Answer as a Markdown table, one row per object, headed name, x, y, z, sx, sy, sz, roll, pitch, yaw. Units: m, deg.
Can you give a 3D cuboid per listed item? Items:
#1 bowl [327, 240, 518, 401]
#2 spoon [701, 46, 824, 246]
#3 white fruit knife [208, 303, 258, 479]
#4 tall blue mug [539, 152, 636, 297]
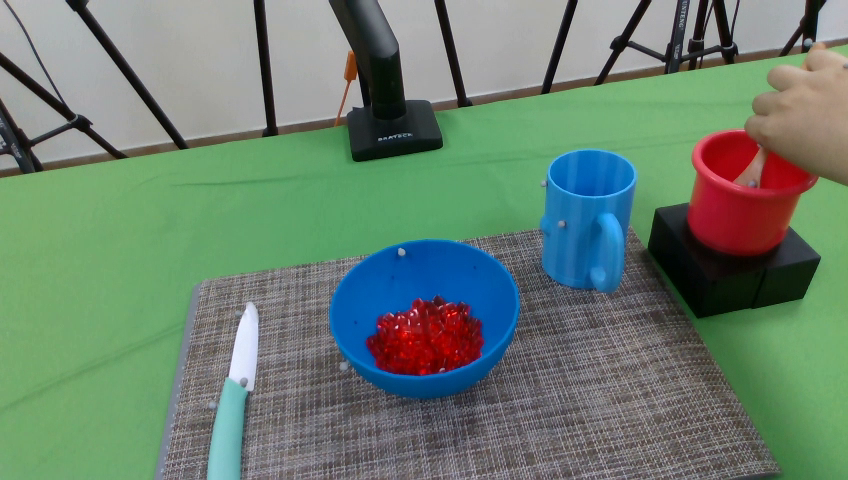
| name | x | y | z | sx | sy | sz | roll | pitch | yaw |
| --- | --- | --- | --- | --- | --- | --- | --- | --- | --- |
| bowl | 0.002 | 0.078 | 0.498 | 0.151 | 0.077 | 0.150 | -4 | 41 | 3 |
| spoon | 0.299 | -0.082 | 0.525 | 0.041 | 0.022 | 0.194 | 29 | 96 | 35 |
| white fruit knife | -0.157 | 0.127 | 0.512 | 0.027 | 0.016 | 0.205 | 15 | 34 | -20 |
| tall blue mug | 0.159 | -0.008 | 0.555 | 0.078 | 0.109 | 0.106 | -28 | 45 | -24 |
